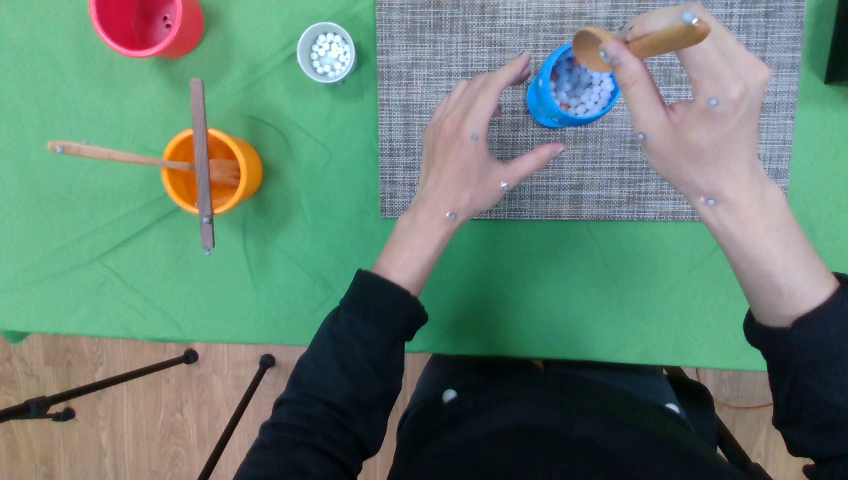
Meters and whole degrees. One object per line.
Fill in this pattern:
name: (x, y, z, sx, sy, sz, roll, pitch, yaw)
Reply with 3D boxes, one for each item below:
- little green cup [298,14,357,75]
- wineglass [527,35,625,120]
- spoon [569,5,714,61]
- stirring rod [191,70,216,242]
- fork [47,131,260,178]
little green cup: (-0.101, -0.208, 0.653, 0.061, 0.038, 0.062, 1, 101, 4)
wineglass: (0.138, -0.149, 0.576, 0.073, 0.172, 0.074, 1, 99, 4)
spoon: (0.127, -0.125, 0.373, 0.021, 0.192, 0.042, -44, 103, 11)
stirring rod: (-0.228, -0.085, 0.625, 0.014, 0.006, 0.176, 0, 100, 4)
fork: (-0.270, -0.089, 0.630, 0.209, 0.018, 0.028, 5, 111, -41)
